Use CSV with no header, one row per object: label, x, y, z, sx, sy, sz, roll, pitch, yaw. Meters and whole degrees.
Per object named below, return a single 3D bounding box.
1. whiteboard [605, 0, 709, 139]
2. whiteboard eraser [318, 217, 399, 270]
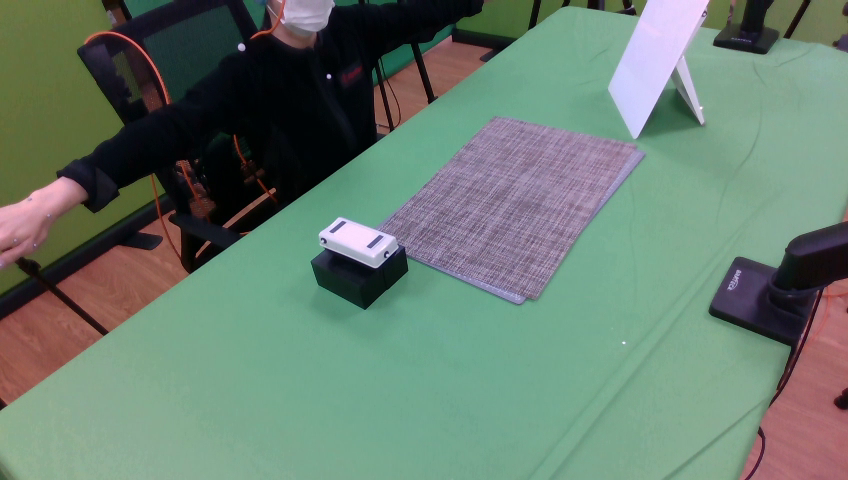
whiteboard,0.496,-0.358,1.146,0.144,0.305,0.216,11,40,-8
whiteboard eraser,-0.097,0.006,0.887,0.112,0.042,0.056,20,49,29
